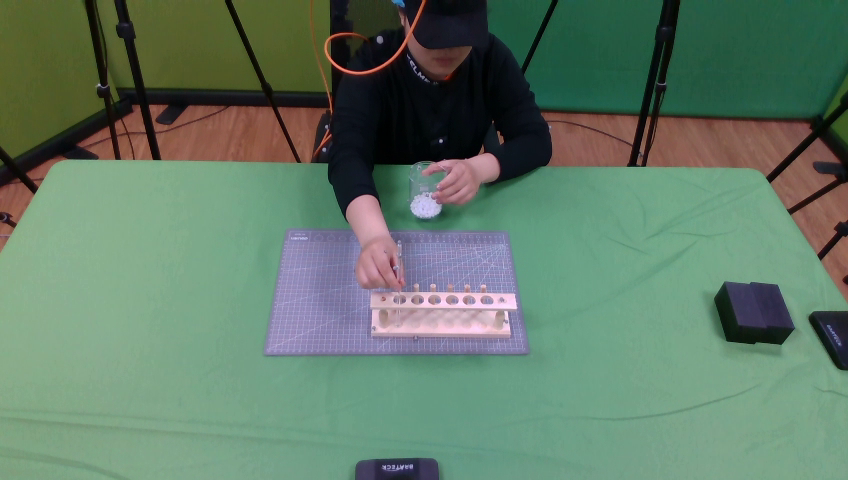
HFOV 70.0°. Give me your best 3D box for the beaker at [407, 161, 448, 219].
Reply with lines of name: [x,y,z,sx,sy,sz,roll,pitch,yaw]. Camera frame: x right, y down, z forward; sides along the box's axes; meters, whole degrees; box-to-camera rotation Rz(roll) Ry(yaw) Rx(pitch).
beaker: [0.006,-0.098,1.216,0.084,0.101,0.073,-14,50,-15]

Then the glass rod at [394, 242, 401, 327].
glass rod: [-0.043,0.077,0.981,0.008,0.200,0.008,2,44,-2]

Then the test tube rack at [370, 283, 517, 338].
test tube rack: [0.030,0.117,1.041,0.242,0.085,0.066,1,46,-3]
